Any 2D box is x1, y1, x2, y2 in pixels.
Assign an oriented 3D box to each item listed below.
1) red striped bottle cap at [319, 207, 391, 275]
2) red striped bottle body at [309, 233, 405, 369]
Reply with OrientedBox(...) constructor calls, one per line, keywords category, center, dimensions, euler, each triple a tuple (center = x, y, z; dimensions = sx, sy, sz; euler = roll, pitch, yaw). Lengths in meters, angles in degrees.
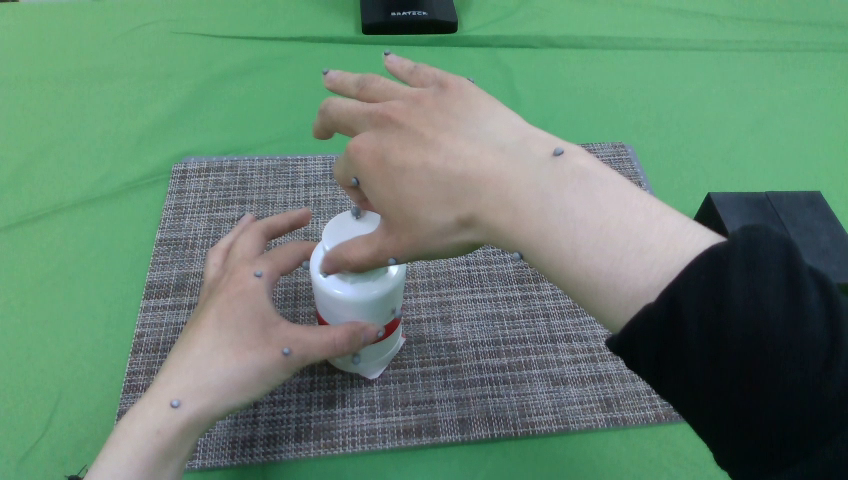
OrientedBox(category="red striped bottle cap", center=(-0.043, 0.000, 0.376), dimensions=(0.044, 0.018, 0.044), euler=(0, 49, 0))
OrientedBox(category="red striped bottle body", center=(-0.046, 0.034, 0.418), dimensions=(0.063, 0.120, 0.062), euler=(3, 50, -3))
